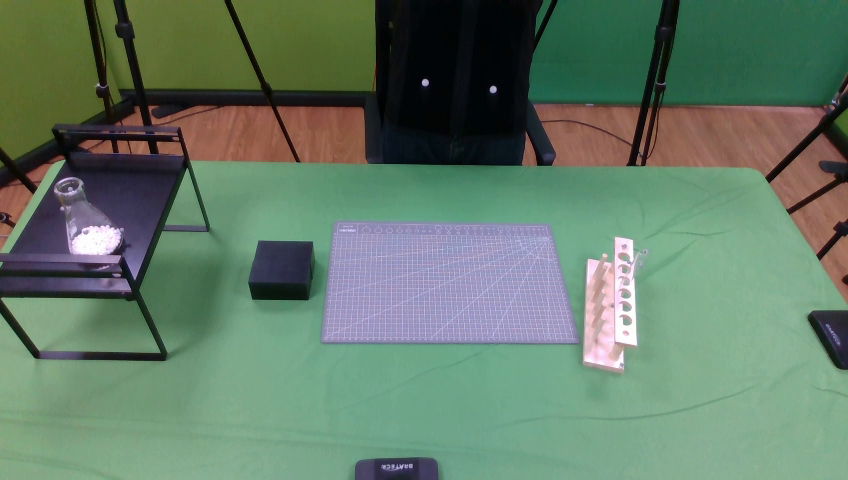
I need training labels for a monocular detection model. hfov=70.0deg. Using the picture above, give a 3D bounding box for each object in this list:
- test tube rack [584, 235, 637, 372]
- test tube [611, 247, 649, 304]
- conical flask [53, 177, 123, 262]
[{"bbox_3d":[0.329,0.103,1.073,0.067,0.085,0.241,11,47,7],"label":"test tube rack"},{"bbox_3d":[0.352,0.065,1.043,0.017,0.151,0.017,3,49,-4],"label":"test tube"},{"bbox_3d":[-0.490,-0.033,0.872,0.075,0.122,0.075,1,46,-1],"label":"conical flask"}]
